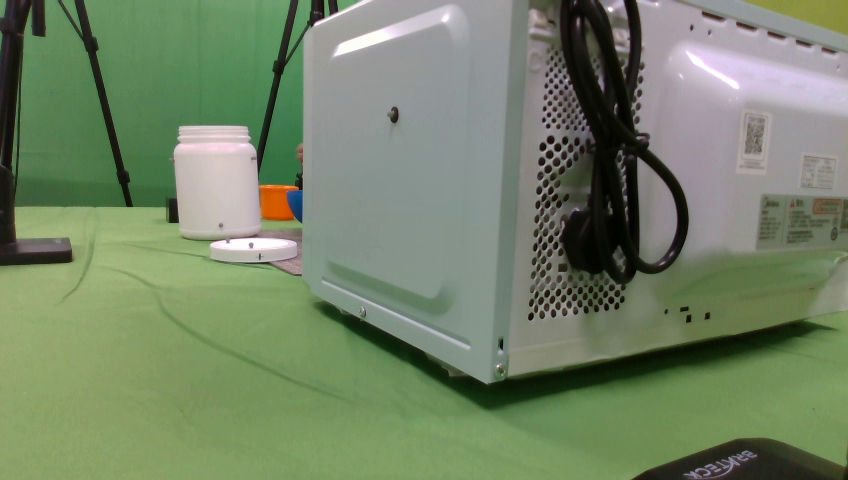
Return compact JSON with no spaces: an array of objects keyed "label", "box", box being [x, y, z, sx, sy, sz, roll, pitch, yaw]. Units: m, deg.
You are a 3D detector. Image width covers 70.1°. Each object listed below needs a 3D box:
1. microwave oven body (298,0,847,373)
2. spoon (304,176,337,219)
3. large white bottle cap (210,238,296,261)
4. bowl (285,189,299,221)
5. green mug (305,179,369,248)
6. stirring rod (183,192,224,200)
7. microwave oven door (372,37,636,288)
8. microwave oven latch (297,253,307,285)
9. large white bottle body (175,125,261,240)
[{"label":"microwave oven body","box":[0.151,-0.055,0.542,0.444,0.260,0.324,-2,7,-33]},{"label":"spoon","box":[-0.201,-0.084,1.146,0.042,0.021,0.193,3,30,-25]},{"label":"large white bottle cap","box":[-0.236,0.012,0.839,0.115,0.018,0.115,1,7,0]},{"label":"bowl","box":[-0.180,-0.050,1.113,0.151,0.077,0.151,2,8,0]},{"label":"green mug","box":[-0.133,-0.045,0.977,0.092,0.105,0.126,6,8,32]},{"label":"stirring rod","box":[-0.474,-0.095,1.293,0.175,0.006,0.014,11,8,44]},{"label":"microwave oven door","box":[0.109,-0.080,0.686,0.358,0.243,0.039,-2,9,-33]},{"label":"microwave oven latch","box":[-0.082,0.027,0.582,0.079,0.029,0.030,-1,7,-32]},{"label":"large white bottle body","box":[-0.349,-0.100,1.025,0.131,0.184,0.130,-1,9,0]}]
